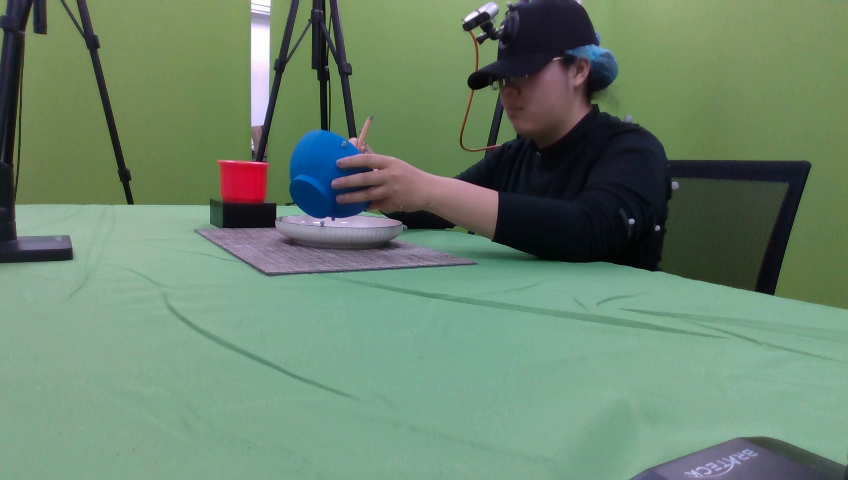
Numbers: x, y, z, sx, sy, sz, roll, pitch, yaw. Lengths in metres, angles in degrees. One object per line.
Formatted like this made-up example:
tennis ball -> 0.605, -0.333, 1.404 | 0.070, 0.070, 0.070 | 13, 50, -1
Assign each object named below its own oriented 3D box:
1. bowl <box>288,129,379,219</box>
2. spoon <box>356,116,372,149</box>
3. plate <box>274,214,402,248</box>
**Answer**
bowl -> -0.153, -0.084, 0.922 | 0.150, 0.152, 0.077 | 7, 43, 34
spoon -> -0.124, -0.137, 1.009 | 0.021, 0.194, 0.041 | 28, -32, -4
plate -> -0.140, -0.015, 0.993 | 0.208, 0.039, 0.207 | 3, 7, 0
